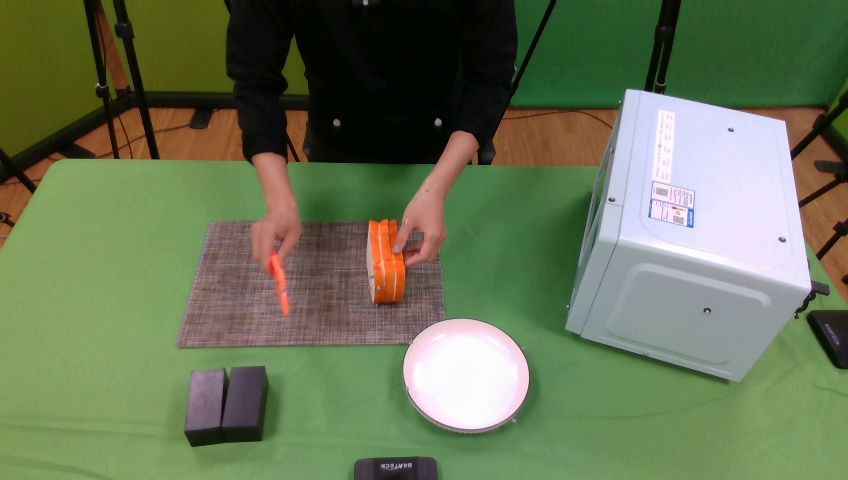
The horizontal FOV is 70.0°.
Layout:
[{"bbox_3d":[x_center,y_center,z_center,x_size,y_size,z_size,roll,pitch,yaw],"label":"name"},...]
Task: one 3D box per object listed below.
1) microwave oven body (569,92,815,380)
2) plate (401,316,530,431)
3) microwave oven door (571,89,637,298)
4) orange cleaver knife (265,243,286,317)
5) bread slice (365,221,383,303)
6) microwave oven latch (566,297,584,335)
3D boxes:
[{"bbox_3d":[0.468,-0.022,1.082,0.325,0.261,0.440,15,46,11],"label":"microwave oven body"},{"bbox_3d":[0.066,0.217,0.982,0.208,0.039,0.206,2,46,-2],"label":"plate"},{"bbox_3d":[0.343,-0.091,1.132,0.039,0.245,0.354,15,47,10],"label":"microwave oven door"},{"bbox_3d":[-0.237,0.059,0.967,0.012,0.077,0.210,-8,18,-18],"label":"orange cleaver knife"},{"bbox_3d":[-0.091,0.044,1.083,0.018,0.107,0.133,-4,45,-9],"label":"bread slice"},{"bbox_3d":[0.268,0.126,1.059,0.030,0.029,0.079,16,46,12],"label":"microwave oven latch"}]
